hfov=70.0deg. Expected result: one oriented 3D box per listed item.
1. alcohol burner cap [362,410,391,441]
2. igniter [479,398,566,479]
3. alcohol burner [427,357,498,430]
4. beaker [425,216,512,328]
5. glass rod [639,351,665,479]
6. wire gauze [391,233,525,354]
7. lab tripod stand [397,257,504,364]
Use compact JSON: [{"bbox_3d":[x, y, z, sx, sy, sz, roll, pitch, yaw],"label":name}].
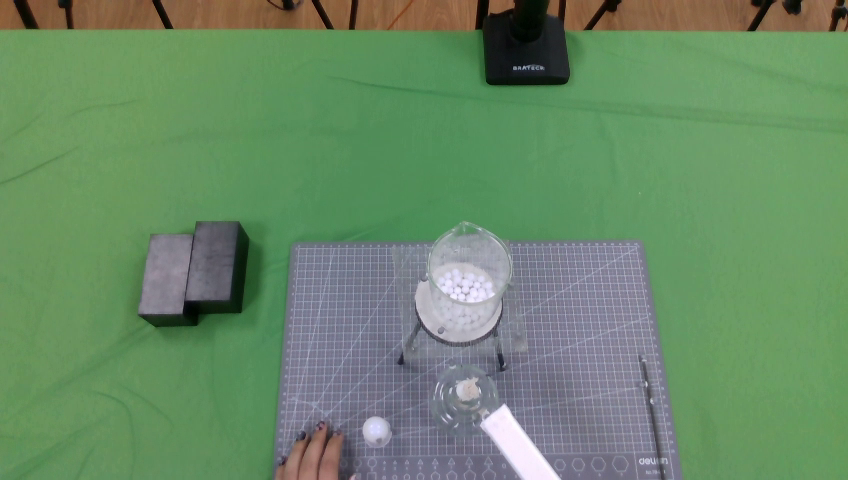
[{"bbox_3d":[-0.053,0.201,0.665,0.034,0.048,0.033,1,68,-1],"label":"alcohol burner cap"},{"bbox_3d":[0.144,0.264,0.541,0.057,0.025,0.275,-38,75,1],"label":"igniter"},{"bbox_3d":[0.042,0.160,0.646,0.078,0.120,0.077,0,66,0],"label":"alcohol burner"},{"bbox_3d":[0.037,0.034,0.562,0.074,0.101,0.083,-4,66,-3],"label":"beaker"},{"bbox_3d":[0.260,0.224,0.682,0.008,0.008,0.198,-1,68,-2],"label":"glass rod"},{"bbox_3d":[0.032,0.052,0.607,0.125,0.011,0.120,-5,66,-2],"label":"wire gauze"},{"bbox_3d":[0.032,0.080,0.667,0.148,0.132,0.147,0,66,0],"label":"lab tripod stand"}]
